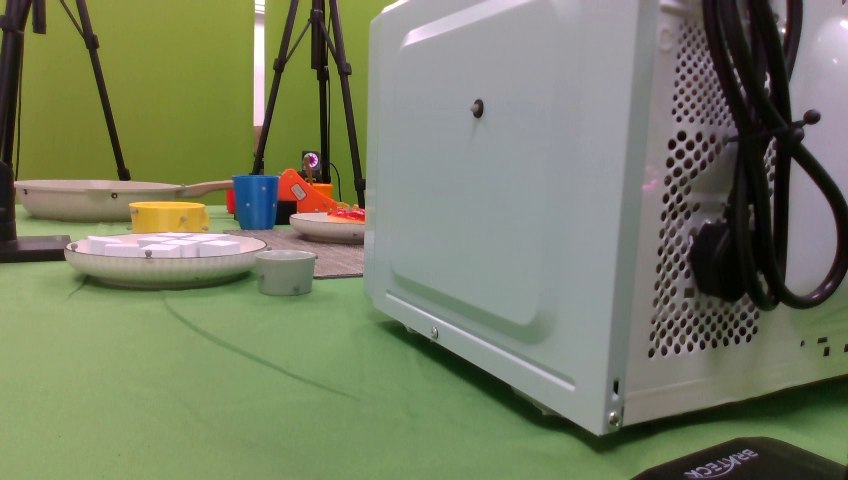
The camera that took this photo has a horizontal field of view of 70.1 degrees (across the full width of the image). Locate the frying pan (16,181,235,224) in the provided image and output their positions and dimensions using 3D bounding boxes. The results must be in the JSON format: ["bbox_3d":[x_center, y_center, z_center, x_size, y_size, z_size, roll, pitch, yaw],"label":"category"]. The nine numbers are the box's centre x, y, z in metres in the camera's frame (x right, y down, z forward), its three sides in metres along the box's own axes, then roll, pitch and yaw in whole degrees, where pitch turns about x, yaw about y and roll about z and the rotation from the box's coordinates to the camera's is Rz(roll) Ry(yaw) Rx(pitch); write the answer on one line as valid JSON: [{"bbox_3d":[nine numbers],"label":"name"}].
[{"bbox_3d":[-0.554,-0.097,1.266,0.490,0.102,0.305,-10,13,-24],"label":"frying pan"}]

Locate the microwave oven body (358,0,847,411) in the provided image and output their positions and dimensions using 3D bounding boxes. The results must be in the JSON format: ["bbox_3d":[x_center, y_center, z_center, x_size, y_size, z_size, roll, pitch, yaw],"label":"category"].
[{"bbox_3d":[0.210,-0.051,0.471,0.444,0.260,0.324,-1,7,-28],"label":"microwave oven body"}]

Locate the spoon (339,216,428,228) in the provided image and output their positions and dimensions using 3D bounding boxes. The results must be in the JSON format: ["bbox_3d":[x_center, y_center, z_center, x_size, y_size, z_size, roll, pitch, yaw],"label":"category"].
[{"bbox_3d":[-0.087,-0.041,1.268,0.193,0.021,0.041,4,25,13],"label":"spoon"}]

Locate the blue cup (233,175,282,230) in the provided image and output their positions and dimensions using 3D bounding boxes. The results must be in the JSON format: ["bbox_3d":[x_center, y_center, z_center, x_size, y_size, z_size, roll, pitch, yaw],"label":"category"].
[{"bbox_3d":[-0.314,-0.071,1.141,0.093,0.100,0.092,0,7,0],"label":"blue cup"}]

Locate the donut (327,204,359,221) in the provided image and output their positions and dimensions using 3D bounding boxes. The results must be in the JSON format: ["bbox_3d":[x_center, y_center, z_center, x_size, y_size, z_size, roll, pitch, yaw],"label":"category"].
[{"bbox_3d":[-0.120,-0.037,1.056,0.099,0.048,0.099,5,6,0],"label":"donut"}]

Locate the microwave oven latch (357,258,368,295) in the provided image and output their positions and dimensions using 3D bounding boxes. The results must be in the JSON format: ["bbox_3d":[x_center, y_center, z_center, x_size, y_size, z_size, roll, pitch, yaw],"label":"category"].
[{"bbox_3d":[-0.019,0.031,0.529,0.079,0.029,0.030,-1,7,-27],"label":"microwave oven latch"}]

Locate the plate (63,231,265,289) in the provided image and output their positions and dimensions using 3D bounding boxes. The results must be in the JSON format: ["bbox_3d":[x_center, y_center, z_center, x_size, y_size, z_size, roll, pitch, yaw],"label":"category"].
[{"bbox_3d":[-0.288,0.021,0.687,0.208,0.039,0.207,2,8,0],"label":"plate"}]

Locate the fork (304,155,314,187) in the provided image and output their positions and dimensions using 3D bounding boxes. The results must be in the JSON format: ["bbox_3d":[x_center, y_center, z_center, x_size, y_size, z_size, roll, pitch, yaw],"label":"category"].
[{"bbox_3d":[-0.268,-0.134,1.447,0.028,0.018,0.207,2,-36,-1],"label":"fork"}]

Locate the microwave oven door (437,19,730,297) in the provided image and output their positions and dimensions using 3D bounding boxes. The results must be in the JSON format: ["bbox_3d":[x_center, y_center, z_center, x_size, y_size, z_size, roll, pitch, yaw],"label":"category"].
[{"bbox_3d":[0.181,-0.076,0.618,0.358,0.243,0.039,-2,9,-28],"label":"microwave oven door"}]

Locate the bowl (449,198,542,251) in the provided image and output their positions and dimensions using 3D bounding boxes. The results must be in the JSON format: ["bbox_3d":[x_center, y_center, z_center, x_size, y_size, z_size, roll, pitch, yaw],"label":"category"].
[{"bbox_3d":[0.115,-0.025,0.987,0.151,0.077,0.151,2,7,0],"label":"bowl"}]

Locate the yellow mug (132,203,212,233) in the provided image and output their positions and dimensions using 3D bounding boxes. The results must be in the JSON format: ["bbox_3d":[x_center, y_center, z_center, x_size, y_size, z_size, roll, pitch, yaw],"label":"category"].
[{"bbox_3d":[-0.356,-0.020,0.878,0.099,0.064,0.131,5,7,22],"label":"yellow mug"}]

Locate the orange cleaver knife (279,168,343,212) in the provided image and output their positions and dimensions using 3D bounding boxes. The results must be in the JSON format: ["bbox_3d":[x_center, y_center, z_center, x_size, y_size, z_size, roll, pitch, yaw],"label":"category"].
[{"bbox_3d":[-0.236,-0.084,1.333,0.212,0.077,0.012,31,-9,-32],"label":"orange cleaver knife"}]

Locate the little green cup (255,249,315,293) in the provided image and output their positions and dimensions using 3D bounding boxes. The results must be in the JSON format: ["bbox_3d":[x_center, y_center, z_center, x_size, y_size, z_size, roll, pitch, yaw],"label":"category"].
[{"bbox_3d":[-0.144,0.031,0.627,0.061,0.038,0.061,2,6,0],"label":"little green cup"}]

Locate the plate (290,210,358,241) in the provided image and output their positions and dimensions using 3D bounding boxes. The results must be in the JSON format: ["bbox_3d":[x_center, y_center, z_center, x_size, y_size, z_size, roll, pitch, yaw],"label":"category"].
[{"bbox_3d":[-0.127,-0.026,1.051,0.209,0.038,0.209,2,7,0],"label":"plate"}]
